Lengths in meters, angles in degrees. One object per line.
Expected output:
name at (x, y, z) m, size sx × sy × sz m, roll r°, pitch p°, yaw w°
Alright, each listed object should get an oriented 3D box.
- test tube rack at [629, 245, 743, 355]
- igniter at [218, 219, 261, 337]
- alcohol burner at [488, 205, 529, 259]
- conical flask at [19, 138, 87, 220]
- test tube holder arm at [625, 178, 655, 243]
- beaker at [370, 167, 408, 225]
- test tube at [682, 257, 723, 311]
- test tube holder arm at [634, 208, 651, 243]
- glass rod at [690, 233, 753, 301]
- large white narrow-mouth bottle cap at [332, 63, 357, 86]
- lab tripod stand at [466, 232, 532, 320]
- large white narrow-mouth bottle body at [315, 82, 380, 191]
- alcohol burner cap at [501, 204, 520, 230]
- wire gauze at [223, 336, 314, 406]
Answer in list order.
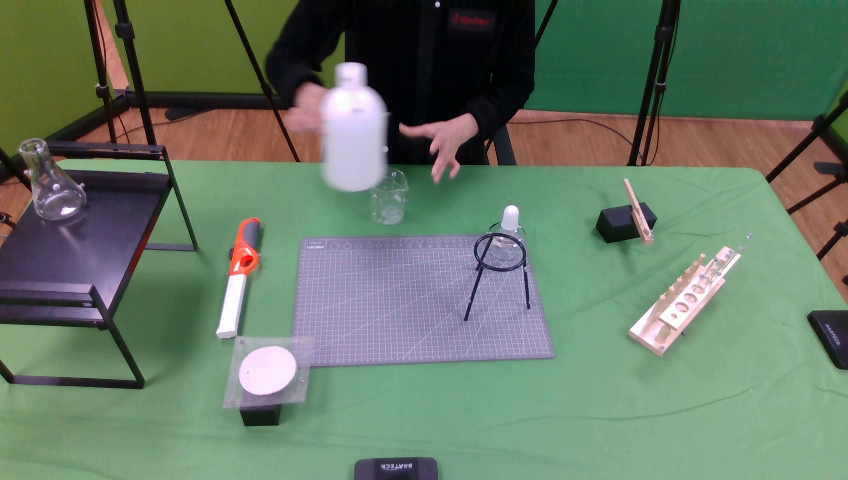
test tube rack at (0.474, 0.095, 1.091) m, size 0.242 × 0.085 × 0.066 m, roll -34°, pitch 56°, yaw -31°
igniter at (-0.336, 0.059, 1.111) m, size 0.057 × 0.025 × 0.274 m, roll -8°, pitch 46°, yaw 3°
alcohol burner at (0.163, -0.020, 1.158) m, size 0.078 × 0.120 × 0.077 m, roll 1°, pitch 47°, yaw 0°
conical flask at (-0.576, -0.096, 0.930) m, size 0.075 × 0.122 × 0.075 m, roll 2°, pitch 46°, yaw -2°
test tube holder arm at (0.433, -0.062, 1.220) m, size 0.013 × 0.015 × 0.177 m, roll 1°, pitch 47°, yaw -3°
beaker at (-0.071, -0.085, 1.219) m, size 0.084 × 0.101 × 0.074 m, roll 21°, pitch 49°, yaw 15°
test tube at (0.475, 0.080, 1.037) m, size 0.017 × 0.151 × 0.017 m, roll 1°, pitch 51°, yaw -1°
test tube holder arm at (0.428, -0.030, 1.189) m, size 0.010 × 0.015 × 0.087 m, roll 1°, pitch 47°, yaw -2°
glass rod at (0.507, 0.053, 1.041) m, size 0.008 × 0.200 × 0.008 m, roll 5°, pitch 51°, yaw -6°
large white narrow-mouth bottle cap at (-0.117, -0.246, 0.900) m, size 0.038 × 0.024 × 0.037 m, roll 2°, pitch 40°, yaw -1°
lab tripod stand at (0.125, 0.059, 1.065) m, size 0.148 × 0.132 × 0.147 m, roll 1°, pitch 45°, yaw 0°
large white narrow-mouth bottle body at (-0.120, -0.180, 0.958) m, size 0.102 × 0.195 × 0.101 m, roll 2°, pitch 40°, yaw -1°
alcohol burner cap at (0.164, -0.046, 1.133) m, size 0.034 × 0.048 × 0.033 m, roll 2°, pitch 40°, yaw -2°
wire gauze at (-0.236, 0.197, 0.931) m, size 0.121 × 0.011 × 0.124 m, roll 1°, pitch 45°, yaw -4°
